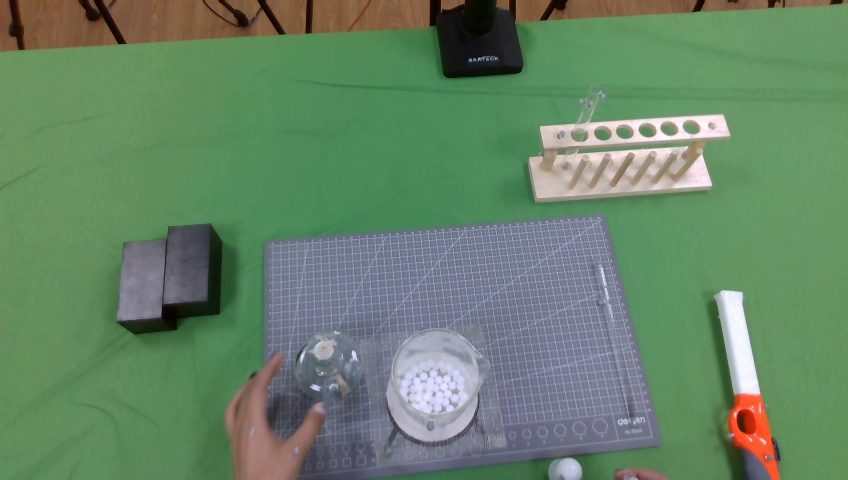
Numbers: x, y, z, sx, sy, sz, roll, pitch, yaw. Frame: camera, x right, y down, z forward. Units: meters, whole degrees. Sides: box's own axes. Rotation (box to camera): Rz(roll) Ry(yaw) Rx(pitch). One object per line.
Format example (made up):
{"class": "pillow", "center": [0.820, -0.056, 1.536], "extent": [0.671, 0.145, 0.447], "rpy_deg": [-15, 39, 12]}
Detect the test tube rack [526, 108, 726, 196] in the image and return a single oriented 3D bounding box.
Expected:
{"class": "test tube rack", "center": [0.266, -0.116, 0.804], "extent": [0.242, 0.086, 0.066], "rpy_deg": [-5, 66, -4]}

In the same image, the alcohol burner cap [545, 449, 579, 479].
{"class": "alcohol burner cap", "center": [0.154, 0.247, 0.666], "extent": [0.034, 0.048, 0.033], "rpy_deg": [0, 65, 0]}

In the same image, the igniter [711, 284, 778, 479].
{"class": "igniter", "center": [0.375, 0.183, 0.710], "extent": [0.057, 0.025, 0.274], "rpy_deg": [6, 66, -11]}

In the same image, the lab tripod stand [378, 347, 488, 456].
{"class": "lab tripod stand", "center": [0.004, 0.169, 0.640], "extent": [0.148, 0.132, 0.147], "rpy_deg": [0, 65, 0]}

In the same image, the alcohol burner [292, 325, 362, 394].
{"class": "alcohol burner", "center": [-0.108, 0.126, 0.665], "extent": [0.078, 0.120, 0.077], "rpy_deg": [1, 64, -1]}

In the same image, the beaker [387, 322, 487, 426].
{"class": "beaker", "center": [0.010, 0.122, 0.535], "extent": [0.084, 0.101, 0.073], "rpy_deg": [-9, 66, -6]}

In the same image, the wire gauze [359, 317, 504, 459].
{"class": "wire gauze", "center": [0.005, 0.139, 0.581], "extent": [0.125, 0.011, 0.120], "rpy_deg": [-8, 65, -3]}

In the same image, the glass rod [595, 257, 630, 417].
{"class": "glass rod", "center": [0.230, 0.115, 0.740], "extent": [0.008, 0.008, 0.198], "rpy_deg": [-3, 69, -4]}

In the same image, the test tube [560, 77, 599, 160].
{"class": "test tube", "center": [0.193, -0.148, 0.761], "extent": [0.017, 0.151, 0.017], "rpy_deg": [0, 63, 0]}
